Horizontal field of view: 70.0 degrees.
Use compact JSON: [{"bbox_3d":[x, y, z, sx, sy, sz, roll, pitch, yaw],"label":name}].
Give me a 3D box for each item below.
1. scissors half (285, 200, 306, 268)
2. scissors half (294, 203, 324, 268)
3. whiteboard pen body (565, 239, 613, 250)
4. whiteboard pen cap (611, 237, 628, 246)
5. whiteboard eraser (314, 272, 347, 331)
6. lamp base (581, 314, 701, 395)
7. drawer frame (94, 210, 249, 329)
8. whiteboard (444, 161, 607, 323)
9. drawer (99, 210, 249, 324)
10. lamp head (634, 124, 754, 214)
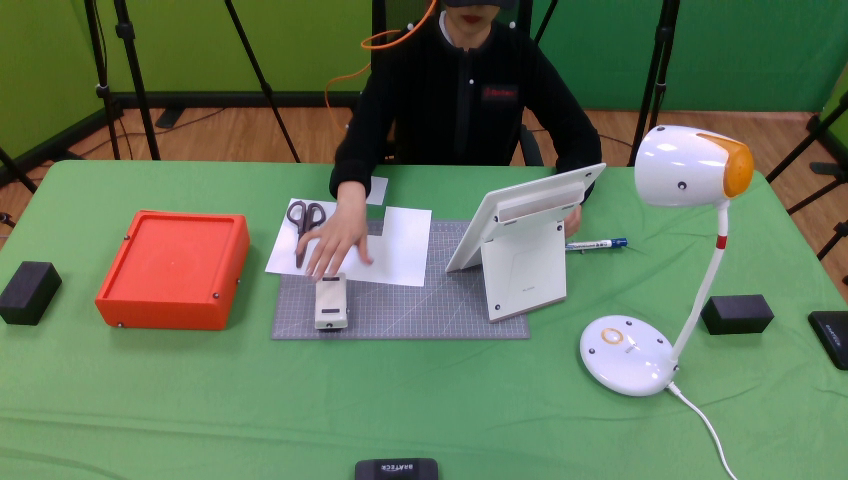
[{"bbox_3d":[-0.250,-0.014,1.193,0.040,0.013,0.174,1,49,-18],"label":"scissors half"},{"bbox_3d":[-0.230,-0.009,1.197,0.040,0.013,0.174,20,46,-8],"label":"scissors half"},{"bbox_3d":[0.331,0.008,1.212,0.141,0.017,0.017,-5,47,-4],"label":"whiteboard pen body"},{"bbox_3d":[0.390,0.004,1.215,0.033,0.018,0.018,-8,47,-2],"label":"whiteboard pen cap"},{"bbox_3d":[-0.165,0.108,1.063,0.055,0.042,0.112,-4,46,-5],"label":"whiteboard eraser"},{"bbox_3d":[0.361,0.145,0.973,0.178,0.181,0.160,34,53,23],"label":"lamp base"},{"bbox_3d":[-0.435,0.048,1.076,0.202,0.083,0.212,2,47,-3],"label":"drawer frame"},{"bbox_3d":[0.186,0.025,1.029,0.217,0.306,0.143,-14,68,-18],"label":"whiteboard"},{"bbox_3d":[-0.435,0.044,1.081,0.194,0.073,0.210,3,47,-2],"label":"drawer"},{"bbox_3d":[0.351,-0.089,0.775,0.112,0.113,0.122,-30,30,-28],"label":"lamp head"}]
